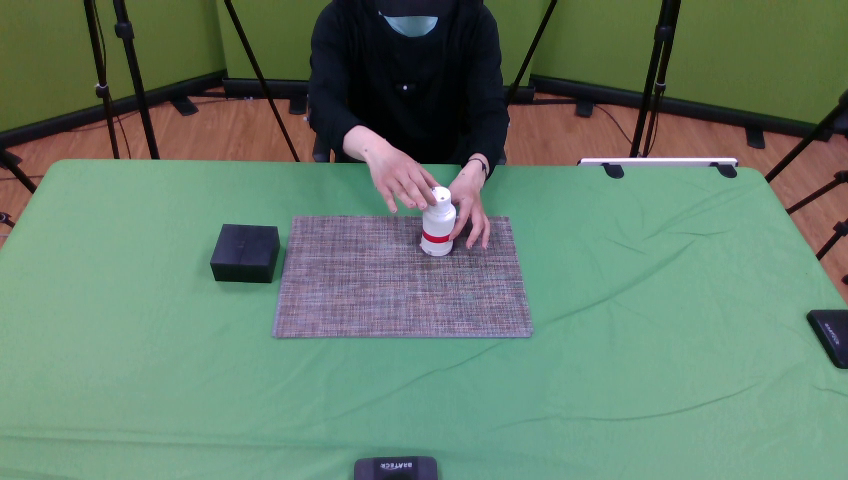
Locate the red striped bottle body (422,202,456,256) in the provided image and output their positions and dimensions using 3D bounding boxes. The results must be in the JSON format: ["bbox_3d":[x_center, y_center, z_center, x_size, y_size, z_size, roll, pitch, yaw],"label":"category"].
[{"bbox_3d":[0.028,-0.031,1.153,0.063,0.120,0.062,1,46,-1],"label":"red striped bottle body"}]

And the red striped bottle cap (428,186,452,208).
[{"bbox_3d":[0.028,-0.080,1.107,0.044,0.018,0.044,-3,47,3],"label":"red striped bottle cap"}]
